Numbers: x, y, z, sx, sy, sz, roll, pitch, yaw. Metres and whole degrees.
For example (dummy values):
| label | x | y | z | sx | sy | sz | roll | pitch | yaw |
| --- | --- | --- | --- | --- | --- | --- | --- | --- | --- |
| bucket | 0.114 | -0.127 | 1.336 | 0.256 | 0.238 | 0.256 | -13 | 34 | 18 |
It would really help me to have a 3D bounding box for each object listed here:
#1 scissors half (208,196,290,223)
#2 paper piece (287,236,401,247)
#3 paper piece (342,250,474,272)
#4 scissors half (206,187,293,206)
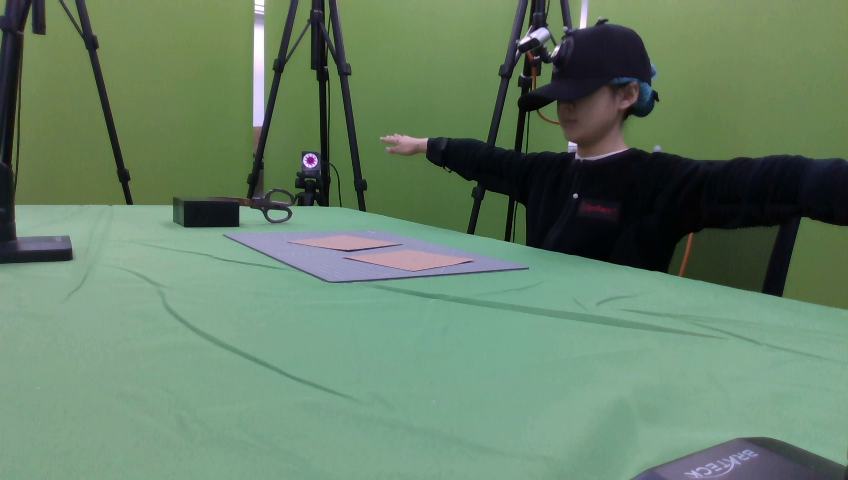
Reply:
| label | x | y | z | sx | sy | sz | roll | pitch | yaw |
| --- | --- | --- | --- | --- | --- | --- | --- | --- | --- |
| scissors half | -0.356 | -0.066 | 1.233 | 0.176 | 0.040 | 0.013 | 14 | 8 | -35 |
| paper piece | -0.130 | 0.004 | 0.986 | 0.137 | 0.008 | 0.137 | 7 | 4 | 35 |
| paper piece | -0.023 | 0.027 | 0.848 | 0.135 | 0.004 | 0.136 | 8 | 9 | 39 |
| scissors half | -0.352 | -0.086 | 1.228 | 0.176 | 0.040 | 0.012 | -6 | 24 | -31 |
